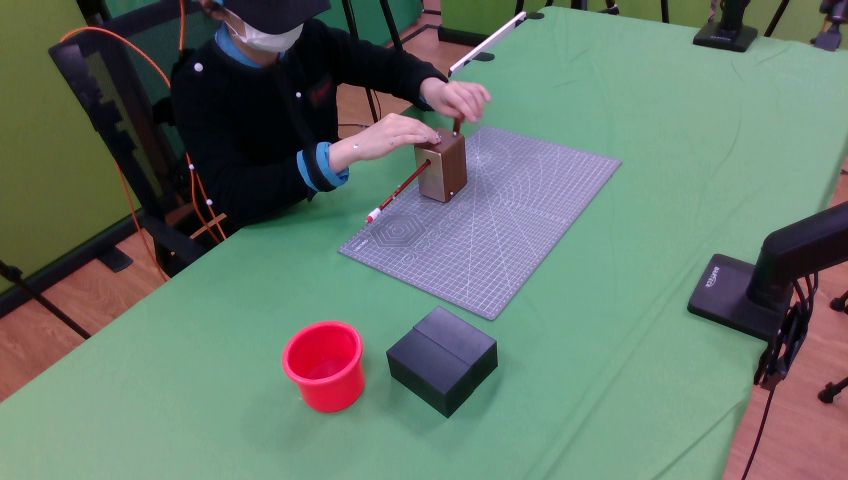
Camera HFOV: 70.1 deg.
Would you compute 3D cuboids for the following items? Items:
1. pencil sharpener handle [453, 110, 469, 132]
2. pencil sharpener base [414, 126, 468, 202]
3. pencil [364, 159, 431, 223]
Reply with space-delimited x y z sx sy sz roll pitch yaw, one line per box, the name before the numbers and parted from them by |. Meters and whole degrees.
pencil sharpener handle | 0.061 -0.192 1.047 0.036 0.068 0.031 33 53 17
pencil sharpener base | 0.032 -0.132 1.047 0.061 0.107 0.077 21 48 30
pencil | -0.032 -0.090 0.977 0.012 0.012 0.194 24 56 31
